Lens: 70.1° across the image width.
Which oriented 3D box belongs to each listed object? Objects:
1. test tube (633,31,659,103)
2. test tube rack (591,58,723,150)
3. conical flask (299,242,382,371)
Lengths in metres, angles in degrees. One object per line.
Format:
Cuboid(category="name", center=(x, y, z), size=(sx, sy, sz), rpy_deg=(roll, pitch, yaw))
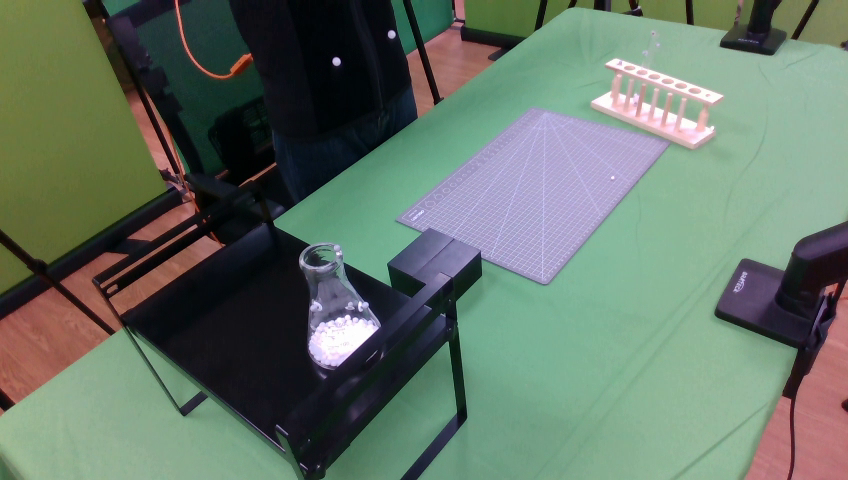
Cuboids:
Cuboid(category="test tube", center=(0.427, -0.331, 1.169), size=(0.017, 0.151, 0.017), rpy_deg=(0, 47, 1))
Cuboid(category="test tube rack", center=(0.442, -0.269, 1.171), size=(0.067, 0.085, 0.240), rpy_deg=(-30, 46, -24))
Cuboid(category="conical flask", center=(-0.085, 0.059, 0.565), size=(0.075, 0.122, 0.075), rpy_deg=(-5, 41, 4))
